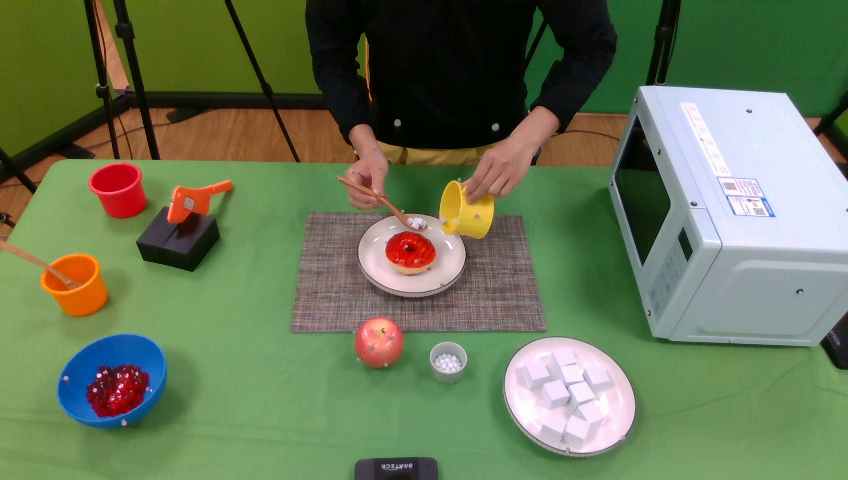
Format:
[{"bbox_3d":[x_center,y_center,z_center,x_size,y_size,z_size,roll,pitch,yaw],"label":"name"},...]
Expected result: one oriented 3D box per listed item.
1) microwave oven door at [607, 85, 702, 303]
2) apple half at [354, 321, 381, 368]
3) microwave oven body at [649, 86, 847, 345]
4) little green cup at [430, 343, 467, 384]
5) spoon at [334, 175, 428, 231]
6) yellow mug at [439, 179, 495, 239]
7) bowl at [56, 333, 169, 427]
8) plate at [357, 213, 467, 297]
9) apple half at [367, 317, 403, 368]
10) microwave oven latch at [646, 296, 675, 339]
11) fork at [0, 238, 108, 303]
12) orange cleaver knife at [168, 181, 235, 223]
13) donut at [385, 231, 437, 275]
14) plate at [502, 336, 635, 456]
[{"bbox_3d":[0.423,-0.094,1.140,0.039,0.245,0.353,2,46,-1],"label":"microwave oven door"},{"bbox_3d":[-0.097,0.176,0.985,0.033,0.081,0.080,-12,48,-20],"label":"apple half"},{"bbox_3d":[0.568,-0.053,1.118,0.326,0.261,0.439,2,45,-1],"label":"microwave oven body"},{"bbox_3d":[0.039,0.203,0.993,0.061,0.039,0.061,2,46,-2],"label":"little green cup"},{"bbox_3d":[-0.072,-0.065,1.045,0.195,0.021,0.041,34,22,-28],"label":"spoon"},{"bbox_3d":[0.081,-0.065,1.085,0.064,0.131,0.099,7,51,-21],"label":"yellow mug"},{"bbox_3d":[-0.456,0.223,0.911,0.151,0.077,0.150,3,46,-2],"label":"bowl"},{"bbox_3d":[-0.023,0.032,1.149,0.209,0.038,0.208,2,46,-2],"label":"plate"},{"bbox_3d":[-0.062,0.167,0.998,0.053,0.075,0.080,-11,44,-21],"label":"apple half"},{"bbox_3d":[0.412,0.134,1.061,0.030,0.029,0.078,4,45,1],"label":"microwave oven latch"},{"bbox_3d":[-0.633,0.048,1.017,0.208,0.018,0.028,40,41,-27],"label":"fork"},{"bbox_3d":[-0.436,-0.078,1.196,0.012,0.077,0.211,16,15,10],"label":"orange cleaver knife"},{"bbox_3d":[-0.025,0.024,1.141,0.099,0.048,0.098,3,44,-3],"label":"donut"},{"bbox_3d":[0.225,0.248,0.963,0.208,0.039,0.206,2,46,-2],"label":"plate"}]
